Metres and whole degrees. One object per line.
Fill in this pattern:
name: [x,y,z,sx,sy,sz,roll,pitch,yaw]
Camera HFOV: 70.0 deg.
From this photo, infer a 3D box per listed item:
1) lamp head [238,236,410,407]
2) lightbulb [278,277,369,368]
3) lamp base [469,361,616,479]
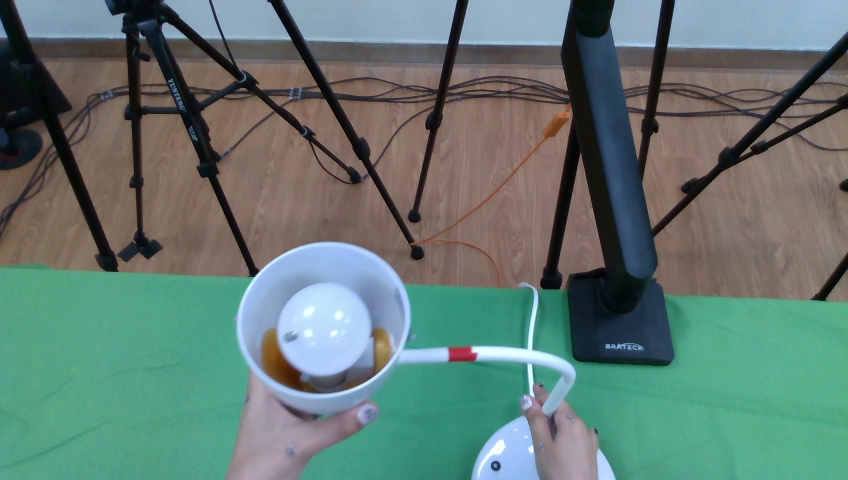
lamp head: [-0.066,0.072,0.446,0.112,0.124,0.111,0,60,0]
lightbulb: [-0.069,0.064,0.422,0.059,0.108,0.059,3,64,-6]
lamp base: [0.128,0.209,0.599,0.161,0.182,0.177,-7,54,-7]
